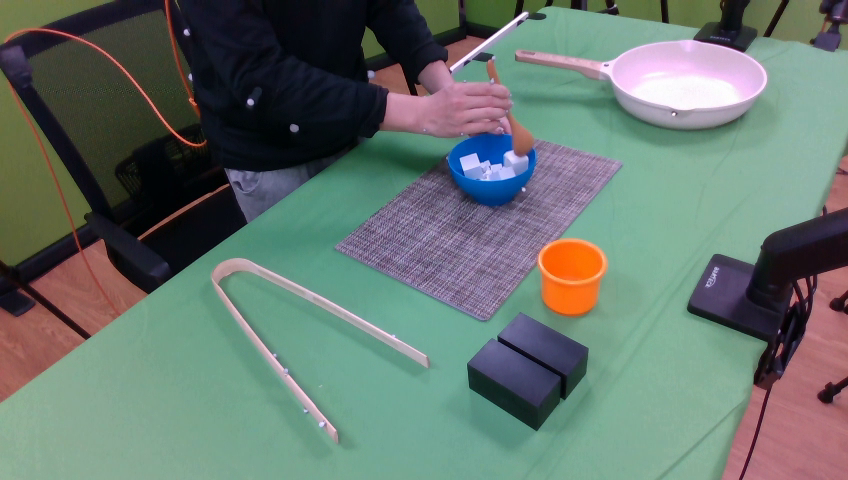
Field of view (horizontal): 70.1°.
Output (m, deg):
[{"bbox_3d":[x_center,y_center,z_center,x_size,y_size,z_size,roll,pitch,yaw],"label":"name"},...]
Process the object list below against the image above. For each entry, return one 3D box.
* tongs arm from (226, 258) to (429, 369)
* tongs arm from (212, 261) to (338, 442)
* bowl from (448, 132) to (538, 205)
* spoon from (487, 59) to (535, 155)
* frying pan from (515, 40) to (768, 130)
[{"bbox_3d":[-0.150,0.098,0.873,0.384,0.028,0.028,22,50,30],"label":"tongs arm"},{"bbox_3d":[-0.208,0.136,0.830,0.051,0.026,0.381,-31,45,-28],"label":"tongs arm"},{"bbox_3d":[0.118,-0.114,1.033,0.151,0.077,0.150,-4,40,4],"label":"bowl"},{"bbox_3d":[0.131,-0.200,0.929,0.041,0.195,0.021,-37,41,-1],"label":"spoon"},{"bbox_3d":[0.423,-0.337,1.236,0.486,0.103,0.307,16,44,13],"label":"frying pan"}]
